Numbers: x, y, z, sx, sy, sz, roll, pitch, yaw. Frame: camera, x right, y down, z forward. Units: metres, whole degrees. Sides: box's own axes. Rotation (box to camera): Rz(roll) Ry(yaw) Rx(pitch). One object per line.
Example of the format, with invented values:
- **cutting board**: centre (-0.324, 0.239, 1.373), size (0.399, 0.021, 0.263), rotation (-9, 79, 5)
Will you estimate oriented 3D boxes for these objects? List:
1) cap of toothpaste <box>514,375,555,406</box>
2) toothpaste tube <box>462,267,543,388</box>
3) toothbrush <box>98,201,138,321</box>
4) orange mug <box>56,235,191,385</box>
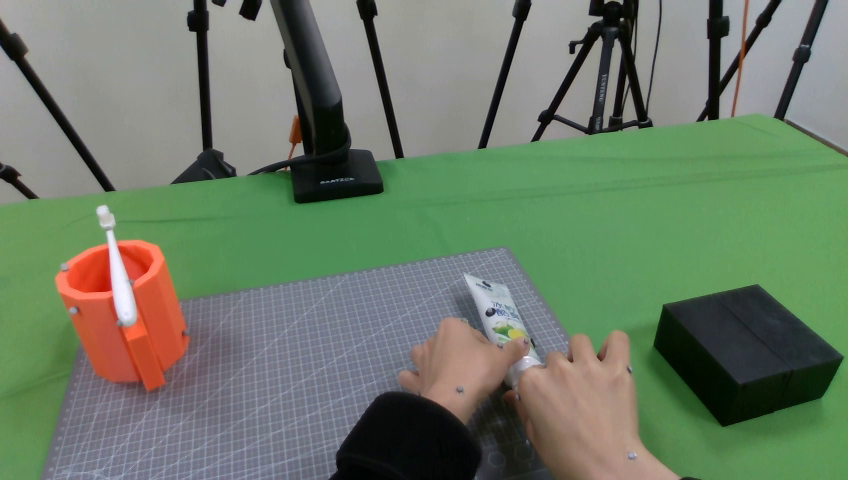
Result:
- **cap of toothpaste**: centre (0.089, 0.121, 0.492), size (0.037, 0.037, 0.011), rotation (-13, 49, -16)
- **toothpaste tube**: centre (0.076, 0.078, 0.561), size (0.055, 0.034, 0.163), rotation (23, 25, -23)
- **toothbrush**: centre (-0.261, 0.012, 0.514), size (0.014, 0.017, 0.180), rotation (-14, 37, -25)
- **orange mug**: centre (-0.255, 0.065, 0.529), size (0.083, 0.101, 0.125), rotation (-21, 35, -27)
